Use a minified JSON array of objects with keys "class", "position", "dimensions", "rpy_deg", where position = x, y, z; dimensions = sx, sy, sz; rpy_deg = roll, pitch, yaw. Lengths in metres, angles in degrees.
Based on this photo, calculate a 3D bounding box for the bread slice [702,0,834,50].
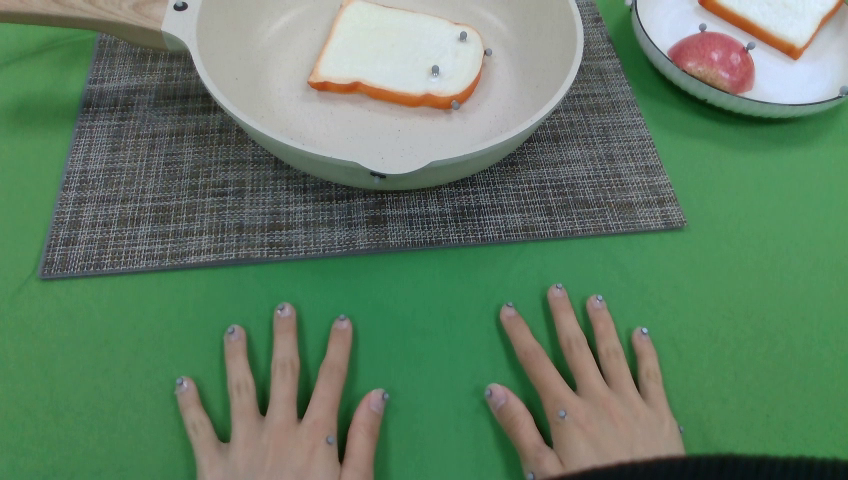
[{"class":"bread slice","position":[0.334,-0.251,0.560],"dimensions":[0.104,0.019,0.131],"rpy_deg":[39,84,18]}]

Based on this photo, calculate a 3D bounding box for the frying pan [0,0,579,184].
[{"class":"frying pan","position":[-0.132,-0.164,0.459],"dimensions":[0.489,0.103,0.304],"rpy_deg":[4,56,-10]}]

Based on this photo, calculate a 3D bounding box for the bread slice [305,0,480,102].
[{"class":"bread slice","position":[-0.021,-0.160,0.509],"dimensions":[0.134,0.018,0.106],"rpy_deg":[9,59,2]}]

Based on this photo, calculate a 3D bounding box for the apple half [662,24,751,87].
[{"class":"apple half","position":[0.239,-0.158,0.499],"dimensions":[0.081,0.033,0.080],"rpy_deg":[14,35,-9]}]

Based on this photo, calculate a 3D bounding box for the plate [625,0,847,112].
[{"class":"plate","position":[0.280,-0.187,0.542],"dimensions":[0.208,0.039,0.205],"rpy_deg":[2,58,-2]}]
